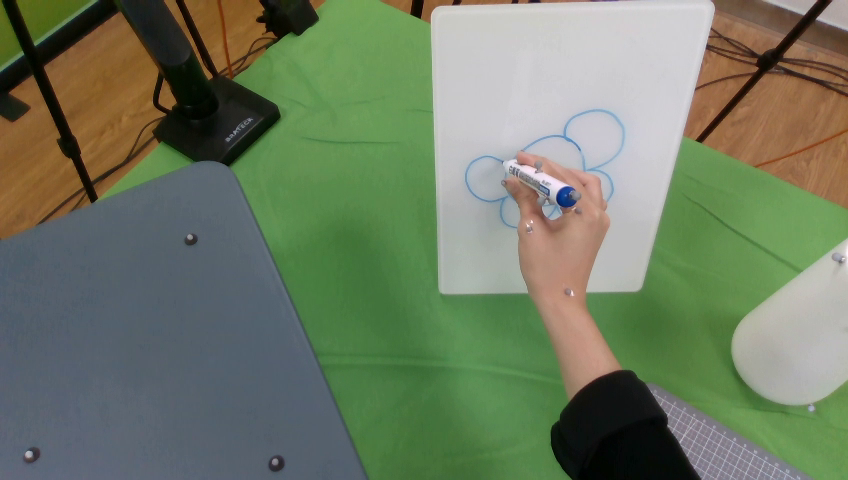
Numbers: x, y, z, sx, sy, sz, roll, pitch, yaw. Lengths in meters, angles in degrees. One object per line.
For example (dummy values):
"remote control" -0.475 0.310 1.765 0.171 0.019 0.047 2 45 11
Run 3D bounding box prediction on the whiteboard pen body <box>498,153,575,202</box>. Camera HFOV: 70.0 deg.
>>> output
"whiteboard pen body" 0.083 -0.054 0.480 0.017 0.017 0.139 -16 21 -7

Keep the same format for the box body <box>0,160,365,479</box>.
"box body" -0.214 0.145 0.512 0.254 0.162 0.360 -25 62 -12

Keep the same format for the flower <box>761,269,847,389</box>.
"flower" 0.338 0.007 0.458 0.044 0.365 0.038 24 46 19

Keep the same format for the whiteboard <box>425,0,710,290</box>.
"whiteboard" 0.116 -0.109 0.604 0.217 0.308 0.142 0 40 2

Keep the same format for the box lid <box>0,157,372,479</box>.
"box lid" -0.218 0.105 0.448 0.263 0.015 0.368 -25 62 -13

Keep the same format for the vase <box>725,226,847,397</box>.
"vase" 0.339 0.063 0.522 0.098 0.202 0.097 -1 58 2
